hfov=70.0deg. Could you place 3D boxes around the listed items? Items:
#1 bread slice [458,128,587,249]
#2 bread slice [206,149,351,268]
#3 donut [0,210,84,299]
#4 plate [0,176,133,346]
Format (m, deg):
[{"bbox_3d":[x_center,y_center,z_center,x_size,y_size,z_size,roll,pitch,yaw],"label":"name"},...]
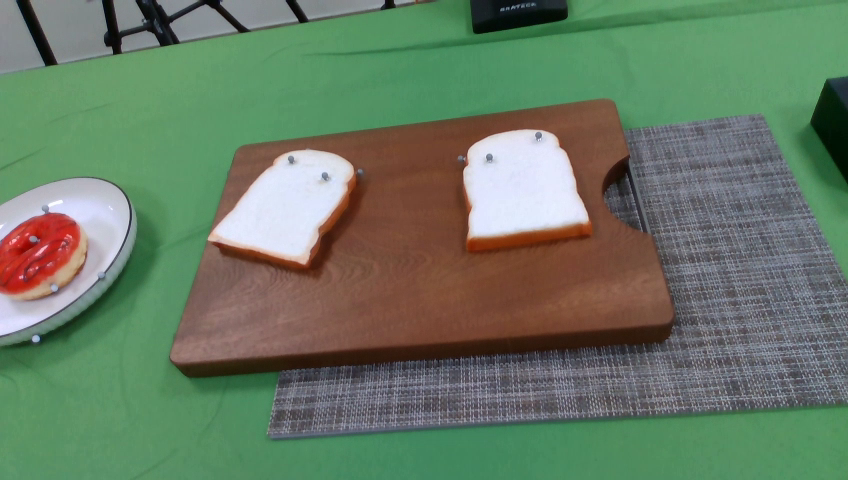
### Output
[{"bbox_3d":[0.080,-0.052,0.543,0.105,0.019,0.130,-8,51,4],"label":"bread slice"},{"bbox_3d":[-0.130,-0.035,0.576,0.106,0.018,0.133,10,55,20],"label":"bread slice"},{"bbox_3d":[-0.388,0.014,0.602,0.099,0.049,0.098,-7,51,9],"label":"donut"},{"bbox_3d":[-0.390,0.020,0.612,0.209,0.038,0.207,-6,50,8],"label":"plate"}]
